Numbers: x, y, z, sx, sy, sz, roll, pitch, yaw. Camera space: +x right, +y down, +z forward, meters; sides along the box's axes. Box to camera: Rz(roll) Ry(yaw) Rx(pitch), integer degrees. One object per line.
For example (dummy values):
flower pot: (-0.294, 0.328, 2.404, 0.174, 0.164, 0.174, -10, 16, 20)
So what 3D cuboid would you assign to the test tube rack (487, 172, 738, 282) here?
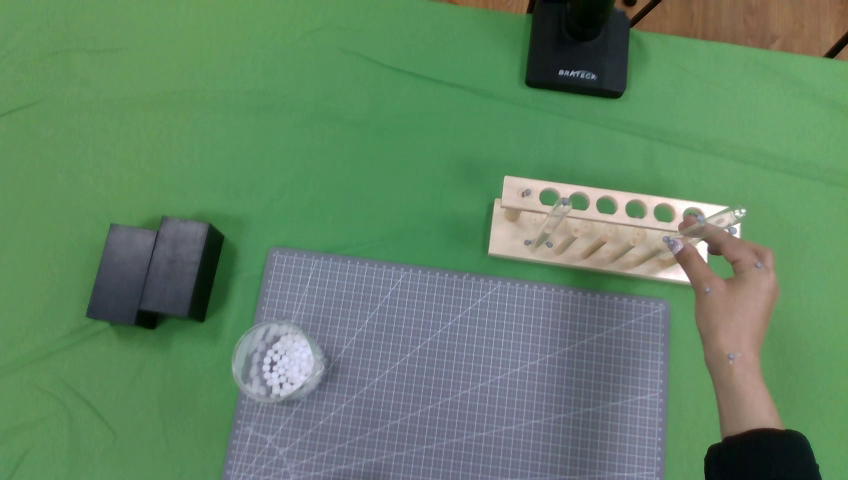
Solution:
test tube rack: (0.196, -0.012, 0.651, 0.242, 0.085, 0.066, 8, 76, 1)

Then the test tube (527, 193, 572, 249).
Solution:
test tube: (0.123, -0.016, 0.604, 0.017, 0.151, 0.017, 0, 75, 0)

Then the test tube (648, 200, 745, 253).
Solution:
test tube: (0.244, -0.010, 0.552, 0.017, 0.151, 0.017, 1, 77, -5)

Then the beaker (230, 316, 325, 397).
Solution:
beaker: (-0.136, 0.118, 0.599, 0.084, 0.100, 0.073, 8, 76, 0)
